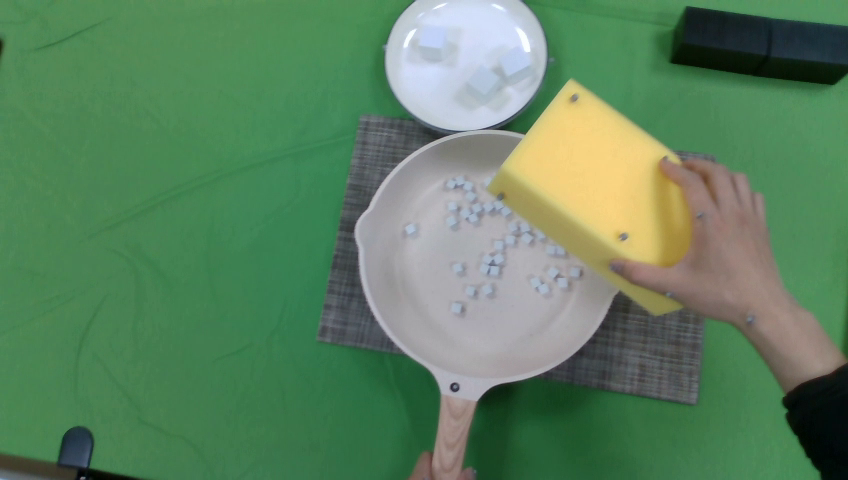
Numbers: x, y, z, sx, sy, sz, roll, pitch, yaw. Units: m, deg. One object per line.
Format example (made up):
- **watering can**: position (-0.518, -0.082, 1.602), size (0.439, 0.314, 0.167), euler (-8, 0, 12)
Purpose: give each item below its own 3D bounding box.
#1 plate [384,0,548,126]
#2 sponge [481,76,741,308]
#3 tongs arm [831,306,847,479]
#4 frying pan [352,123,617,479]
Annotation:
- **plate**: position (0.053, -0.241, 0.781), size (0.207, 0.039, 0.206), euler (-1, 79, 5)
- **sponge**: position (0.175, -0.044, 0.575), size (0.206, 0.061, 0.118), euler (36, 72, 2)
- **tongs arm**: position (0.486, 0.128, 0.676), size (0.028, 0.028, 0.386), euler (11, 80, 5)
- **frying pan**: position (0.047, 0.107, 0.674), size (0.306, 0.103, 0.485), euler (11, 72, 8)
